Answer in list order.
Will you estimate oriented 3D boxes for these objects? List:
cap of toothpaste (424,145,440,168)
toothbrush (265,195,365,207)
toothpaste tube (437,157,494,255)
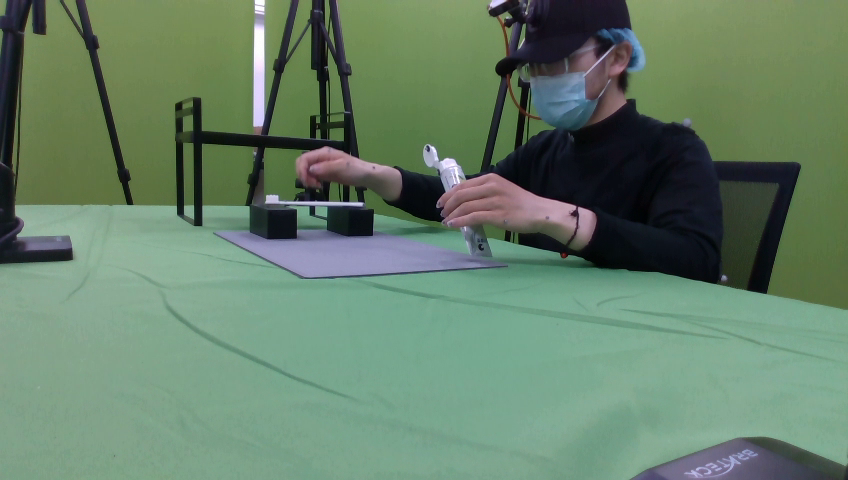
[{"bbox_3d":[0.012,-0.127,0.915,0.011,0.037,0.037,-18,16,-25],"label":"cap of toothpaste"},{"bbox_3d":[-0.192,-0.068,1.081,0.183,0.016,0.014,0,-6,-26],"label":"toothbrush"},{"bbox_3d":[0.058,-0.052,0.891,0.055,0.164,0.034,0,-28,-44],"label":"toothpaste tube"}]
